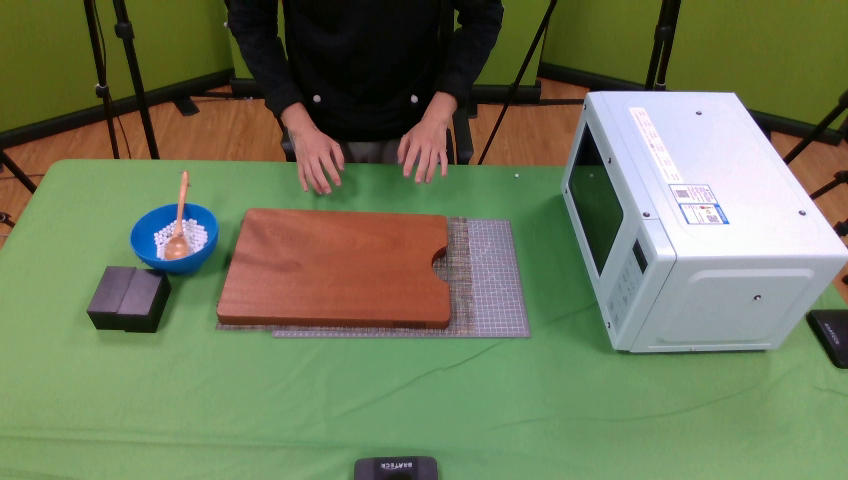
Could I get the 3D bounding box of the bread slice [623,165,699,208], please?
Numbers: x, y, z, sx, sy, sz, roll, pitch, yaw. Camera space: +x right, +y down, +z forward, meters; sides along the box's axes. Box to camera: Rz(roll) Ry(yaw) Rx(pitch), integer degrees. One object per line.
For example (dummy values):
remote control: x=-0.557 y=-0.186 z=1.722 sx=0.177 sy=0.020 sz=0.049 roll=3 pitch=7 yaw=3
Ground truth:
bread slice: x=0.450 y=-0.100 z=1.145 sx=0.135 sy=0.018 sz=0.106 roll=3 pitch=42 yaw=-21

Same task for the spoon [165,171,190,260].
spoon: x=-0.452 y=-0.046 z=1.129 sx=0.041 sy=0.022 sz=0.193 roll=-1 pitch=69 yaw=-2

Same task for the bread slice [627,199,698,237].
bread slice: x=0.470 y=-0.044 z=1.197 sx=0.131 sy=0.019 sz=0.104 roll=5 pitch=40 yaw=10

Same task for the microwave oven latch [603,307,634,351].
microwave oven latch: x=0.332 y=0.153 z=1.044 sx=0.030 sy=0.029 sz=0.078 roll=0 pitch=45 yaw=-4

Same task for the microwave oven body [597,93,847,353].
microwave oven body: x=0.475 y=-0.041 z=1.110 sx=0.326 sy=0.261 sz=0.438 roll=-1 pitch=45 yaw=-4

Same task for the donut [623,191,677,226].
donut: x=0.438 y=-0.061 z=1.173 sx=0.099 sy=0.048 sz=0.098 roll=-6 pitch=28 yaw=4

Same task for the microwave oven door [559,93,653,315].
microwave oven door: x=0.327 y=-0.074 z=1.123 sx=0.039 sy=0.245 sz=0.353 roll=-1 pitch=46 yaw=-5

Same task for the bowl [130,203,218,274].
bowl: x=-0.450 y=0.010 z=1.117 sx=0.151 sy=0.077 sz=0.150 roll=3 pitch=45 yaw=-3
